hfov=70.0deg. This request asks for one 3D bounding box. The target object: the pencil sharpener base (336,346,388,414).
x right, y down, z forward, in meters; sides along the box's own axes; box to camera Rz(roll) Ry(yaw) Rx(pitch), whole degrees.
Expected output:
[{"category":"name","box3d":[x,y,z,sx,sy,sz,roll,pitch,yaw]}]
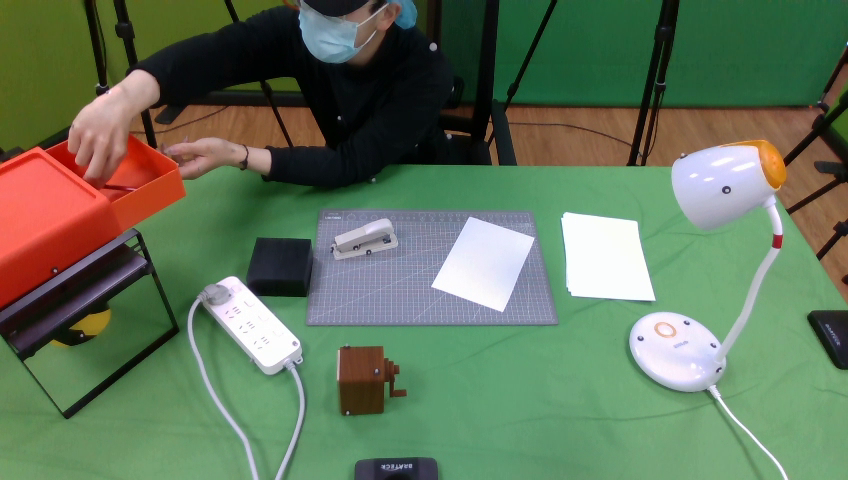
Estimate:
[{"category":"pencil sharpener base","box3d":[-0.093,0.215,0.927,0.077,0.107,0.061,-1,46,-6]}]

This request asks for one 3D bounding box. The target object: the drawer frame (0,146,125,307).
[{"category":"drawer frame","box3d":[-0.596,-0.023,0.886,0.201,0.083,0.213,30,52,22]}]

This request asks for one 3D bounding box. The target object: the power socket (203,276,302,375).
[{"category":"power socket","box3d":[-0.297,0.141,1.034,0.072,0.033,0.225,-34,58,-30]}]

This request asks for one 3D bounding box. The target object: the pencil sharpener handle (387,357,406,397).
[{"category":"pencil sharpener handle","box3d":[-0.041,0.209,0.919,0.031,0.068,0.036,-1,25,-6]}]

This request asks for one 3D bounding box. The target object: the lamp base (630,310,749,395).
[{"category":"lamp base","box3d":[0.447,0.143,0.984,0.161,0.181,0.178,-24,55,-24]}]

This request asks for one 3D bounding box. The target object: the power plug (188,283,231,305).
[{"category":"power plug","box3d":[-0.368,0.099,1.037,0.072,0.053,0.035,-23,52,-25]}]

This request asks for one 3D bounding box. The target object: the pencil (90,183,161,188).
[{"category":"pencil","box3d":[-0.503,-0.086,0.956,0.194,0.012,0.012,1,46,9]}]

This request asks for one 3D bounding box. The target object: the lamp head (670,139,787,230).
[{"category":"lamp head","box3d":[0.415,-0.079,0.812,0.113,0.123,0.112,13,70,-37]}]

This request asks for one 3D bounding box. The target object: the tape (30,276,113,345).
[{"category":"tape","box3d":[-0.594,0.118,1.022,0.117,0.053,0.116,2,45,-2]}]

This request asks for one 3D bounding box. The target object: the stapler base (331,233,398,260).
[{"category":"stapler base","box3d":[-0.116,0.004,1.181,0.131,0.024,0.041,-13,47,-14]}]

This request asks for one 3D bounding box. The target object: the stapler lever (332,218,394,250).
[{"category":"stapler lever","box3d":[-0.116,-0.012,1.162,0.118,0.040,0.026,-13,47,-14]}]

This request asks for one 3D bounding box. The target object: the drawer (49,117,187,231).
[{"category":"drawer","box3d":[-0.523,-0.086,0.956,0.193,0.073,0.211,32,53,24]}]
